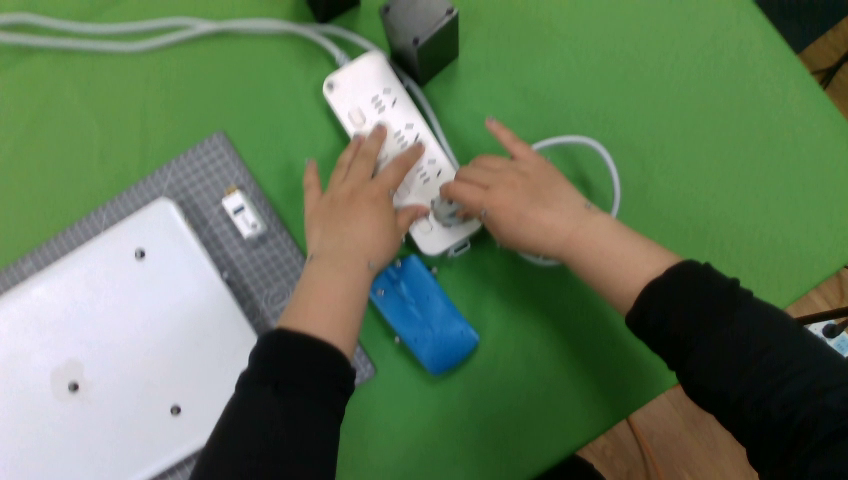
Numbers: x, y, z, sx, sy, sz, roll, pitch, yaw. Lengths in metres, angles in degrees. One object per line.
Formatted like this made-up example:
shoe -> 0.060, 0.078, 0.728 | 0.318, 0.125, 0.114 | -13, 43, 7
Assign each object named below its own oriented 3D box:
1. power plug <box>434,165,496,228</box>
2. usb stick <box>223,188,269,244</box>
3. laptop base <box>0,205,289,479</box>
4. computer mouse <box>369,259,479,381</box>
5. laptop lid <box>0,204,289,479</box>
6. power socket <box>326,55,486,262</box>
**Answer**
power plug -> 0.043, -0.038, 0.567 | 0.072, 0.053, 0.035 | -26, 88, 13
usb stick -> -0.181, -0.026, 0.605 | 0.021, 0.027, 0.059 | -32, 85, 3
laptop base -> -0.338, 0.151, 0.606 | 0.354, 0.023, 0.235 | -33, 88, 0
computer mouse -> -0.001, 0.077, 0.587 | 0.063, 0.041, 0.116 | -38, 80, 3
laptop lid -> -0.337, 0.152, 0.595 | 0.357, 0.013, 0.241 | -31, 87, 0
power socket -> -0.018, -0.080, 0.600 | 0.072, 0.032, 0.226 | -31, 84, 1
